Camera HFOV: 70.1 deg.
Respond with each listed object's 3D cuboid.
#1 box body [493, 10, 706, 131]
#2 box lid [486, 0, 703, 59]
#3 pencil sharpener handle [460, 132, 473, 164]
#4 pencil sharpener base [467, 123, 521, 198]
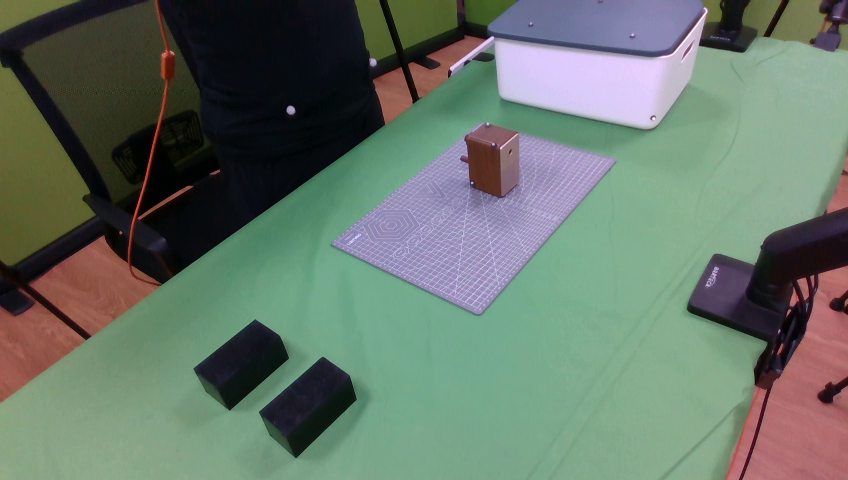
[{"bbox_3d":[0.354,-0.377,1.254,0.361,0.161,0.254,20,48,28],"label":"box body"},{"bbox_3d":[0.338,-0.437,1.204,0.369,0.015,0.264,18,47,29],"label":"box lid"},{"bbox_3d":[0.077,-0.163,1.062,0.030,0.068,0.036,23,43,32],"label":"pencil sharpener handle"},{"bbox_3d":[0.119,-0.138,1.044,0.076,0.107,0.061,23,50,32],"label":"pencil sharpener base"}]
